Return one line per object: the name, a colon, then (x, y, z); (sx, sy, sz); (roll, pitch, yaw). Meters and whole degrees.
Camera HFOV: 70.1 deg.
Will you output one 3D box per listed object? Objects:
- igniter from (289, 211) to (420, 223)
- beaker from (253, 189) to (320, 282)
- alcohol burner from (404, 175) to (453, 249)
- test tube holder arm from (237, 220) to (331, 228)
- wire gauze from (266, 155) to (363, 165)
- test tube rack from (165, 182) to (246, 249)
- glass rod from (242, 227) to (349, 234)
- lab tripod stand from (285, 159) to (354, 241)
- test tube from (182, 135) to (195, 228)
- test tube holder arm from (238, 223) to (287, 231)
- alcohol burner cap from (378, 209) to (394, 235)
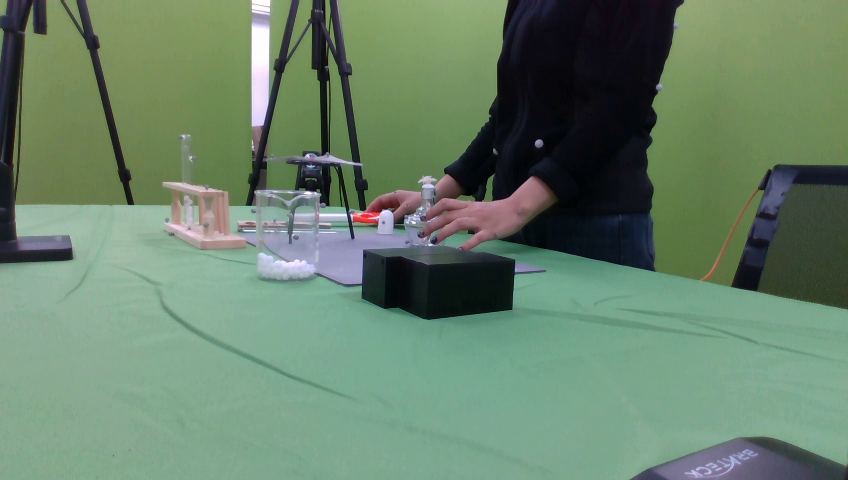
igniter: (-0.142, -0.047, 1.275); (0.278, 0.025, 0.057); (-1, 12, -23)
beaker: (-0.156, -0.005, 0.689); (0.074, 0.100, 0.083); (0, 8, -14)
alcohol burner: (0.007, -0.045, 0.971); (0.078, 0.119, 0.078); (1, 9, 0)
test tube holder arm: (-0.260, -0.029, 1.141); (0.179, 0.015, 0.013); (-2, 42, -33)
wire gauze: (-0.185, -0.136, 1.016); (0.126, 0.011, 0.121); (-4, 11, -33)
test tube rack: (-0.360, -0.045, 0.982); (0.067, 0.085, 0.241); (-3, 9, -34)
glass rod: (-0.232, -0.016, 1.110); (0.201, 0.008, 0.008); (2, 6, -29)
lab tripod stand: (-0.187, -0.068, 1.013); (0.148, 0.131, 0.148); (4, 9, 0)
test tube: (-0.382, -0.095, 0.983); (0.017, 0.150, 0.017); (-1, 2, 0)
test tube holder arm: (-0.296, -0.024, 1.113); (0.088, 0.015, 0.010); (-1, 42, -32)
alcohol burner cap: (-0.072, -0.035, 1.145); (0.034, 0.048, 0.034); (2, 7, 0)
